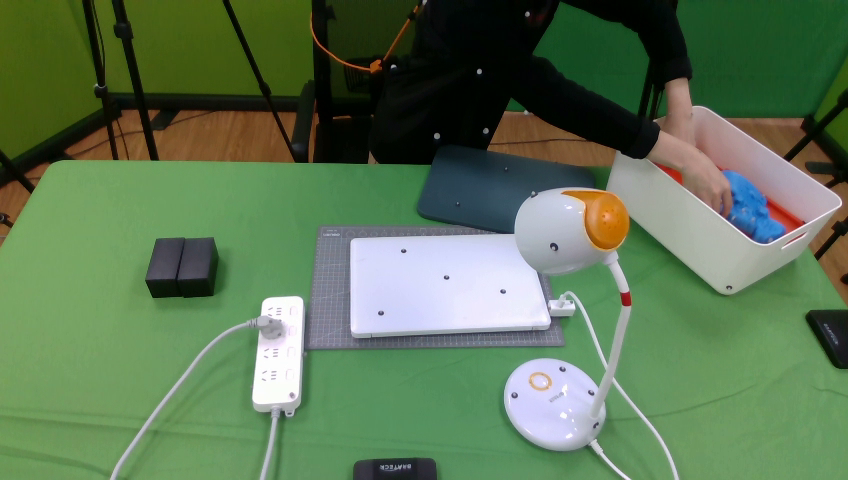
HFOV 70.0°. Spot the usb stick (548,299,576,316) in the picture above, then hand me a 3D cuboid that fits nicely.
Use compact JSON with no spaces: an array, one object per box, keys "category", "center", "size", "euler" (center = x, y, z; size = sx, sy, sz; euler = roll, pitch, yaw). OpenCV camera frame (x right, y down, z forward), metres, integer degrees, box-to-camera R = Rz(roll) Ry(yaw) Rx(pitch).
[{"category":"usb stick","center":[0.239,0.121,1.084],"size":[0.059,0.027,0.021],"euler":[-1,51,-1]}]

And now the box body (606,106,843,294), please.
[{"category":"box body","center":[0.582,-0.089,1.230],"size":[0.254,0.161,0.361],"euler":[-22,52,-23]}]

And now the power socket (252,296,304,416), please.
[{"category":"power socket","center":[-0.238,0.181,0.997],"size":[0.072,0.033,0.225],"euler":[-3,47,-5]}]

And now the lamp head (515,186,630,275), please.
[{"category":"lamp head","center":[0.188,-0.013,0.728],"size":[0.112,0.112,0.122],"euler":[-25,9,-25]}]

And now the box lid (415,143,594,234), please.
[{"category":"box lid","center":[0.185,-0.105,1.322],"size":[0.371,0.015,0.262],"euler":[11,46,7]}]

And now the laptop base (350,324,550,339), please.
[{"category":"laptop base","center":[0.039,0.081,1.125],"size":[0.355,0.023,0.234],"euler":[-2,43,-6]}]

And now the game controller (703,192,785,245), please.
[{"category":"game controller","center":[0.613,-0.047,1.166],"size":[0.154,0.052,0.097],"euler":[35,51,25]}]

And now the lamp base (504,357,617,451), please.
[{"category":"lamp base","center":[0.220,0.211,0.903],"size":[0.160,0.181,0.178],"euler":[-33,59,-30]}]

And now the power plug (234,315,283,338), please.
[{"category":"power plug","center":[-0.269,0.143,1.000],"size":[0.072,0.053,0.035],"euler":[4,47,2]}]

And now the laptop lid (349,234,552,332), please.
[{"category":"laptop lid","center":[0.040,0.071,1.118],"size":[0.357,0.013,0.240],"euler":[0,44,-5]}]

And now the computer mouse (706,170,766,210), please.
[{"category":"computer mouse","center":[0.635,-0.100,1.229],"size":[0.063,0.041,0.116],"euler":[-30,61,-31]}]
